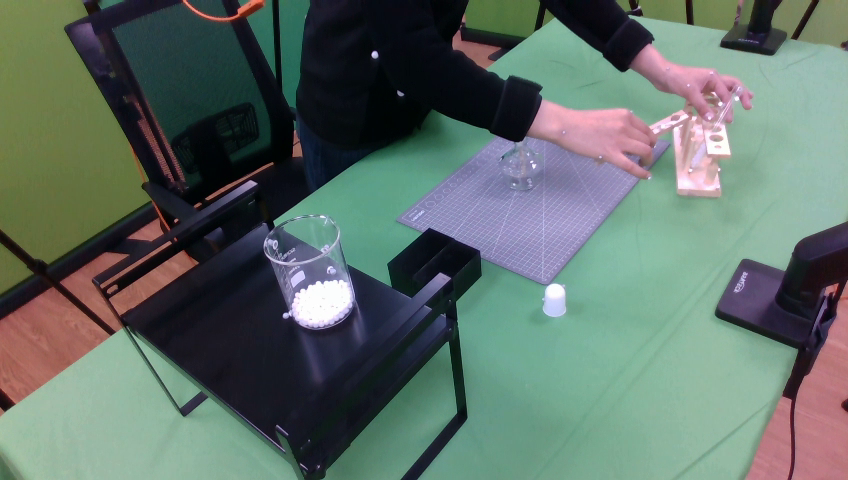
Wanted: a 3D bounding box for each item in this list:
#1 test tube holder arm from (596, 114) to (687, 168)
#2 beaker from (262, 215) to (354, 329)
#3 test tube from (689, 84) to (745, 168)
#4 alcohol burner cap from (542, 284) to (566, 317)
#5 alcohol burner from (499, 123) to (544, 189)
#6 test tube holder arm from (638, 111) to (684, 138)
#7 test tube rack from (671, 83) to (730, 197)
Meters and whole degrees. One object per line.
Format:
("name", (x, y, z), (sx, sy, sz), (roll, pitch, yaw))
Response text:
("test tube holder arm", (0.320, -0.146, 0.882), (0.179, 0.015, 0.013), (-28, 58, -22))
("beaker", (-0.112, 0.034, 0.616), (0.073, 0.101, 0.084), (13, 44, 23))
("test tube", (0.484, -0.187, 1.005), (0.017, 0.150, 0.017), (20, 24, -9))
("alcohol burner cap", (0.182, 0.081, 0.839), (0.034, 0.048, 0.033), (-4, 42, 4))
("alcohol burner", (0.169, -0.149, 1.048), (0.078, 0.119, 0.077), (-6, 41, 6))
("test tube holder arm", (0.354, -0.170, 0.901), (0.088, 0.015, 0.010), (-28, 58, -21))
("test tube rack", (0.482, -0.184, 1.067), (0.066, 0.085, 0.242), (6, 42, 15))
